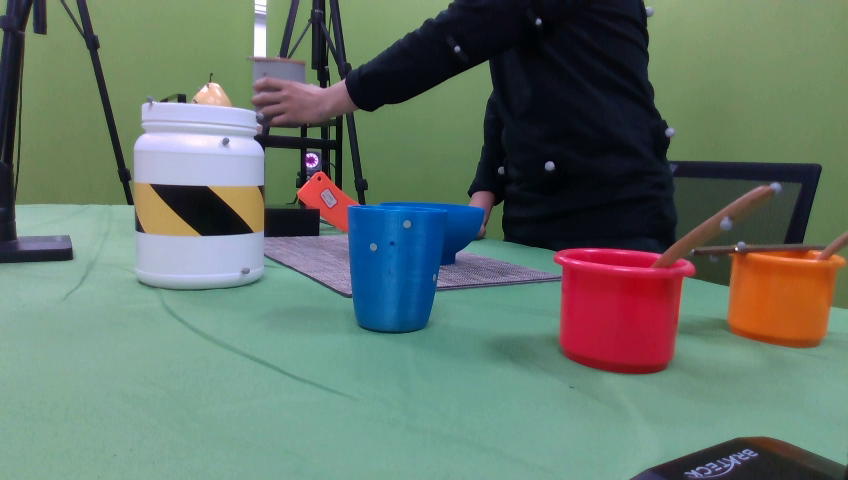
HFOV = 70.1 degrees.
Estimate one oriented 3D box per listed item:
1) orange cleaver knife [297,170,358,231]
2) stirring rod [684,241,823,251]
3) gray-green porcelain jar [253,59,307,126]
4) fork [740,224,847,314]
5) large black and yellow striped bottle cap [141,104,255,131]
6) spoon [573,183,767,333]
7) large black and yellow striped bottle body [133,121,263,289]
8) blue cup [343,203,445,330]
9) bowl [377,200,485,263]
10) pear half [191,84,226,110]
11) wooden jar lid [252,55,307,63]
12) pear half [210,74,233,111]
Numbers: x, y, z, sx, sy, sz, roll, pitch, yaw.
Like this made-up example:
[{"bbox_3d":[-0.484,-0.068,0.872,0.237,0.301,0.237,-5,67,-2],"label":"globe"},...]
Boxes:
[{"bbox_3d":[-0.149,-0.058,1.170,0.212,0.077,0.012,33,-15,-32],"label":"orange cleaver knife"},{"bbox_3d":[0.289,0.005,0.525,0.177,0.006,0.014,-1,6,-26],"label":"stirring rod"},{"bbox_3d":[-0.293,-0.298,1.233,0.106,0.126,0.106,2,12,0],"label":"gray-green porcelain jar"},{"bbox_3d":[0.323,0.013,0.485,0.028,0.018,0.207,9,-38,-5],"label":"fork"},{"bbox_3d":[-0.241,-0.131,0.650,0.115,0.019,0.115,3,8,0],"label":"large black and yellow striped bottle cap"},{"bbox_3d":[0.158,0.020,0.412,0.042,0.021,0.193,-2,-35,-21],"label":"spoon"},{"bbox_3d":[-0.243,-0.048,0.659,0.131,0.184,0.130,2,7,0],"label":"large black and yellow striped bottle body"},{"bbox_3d":[-0.028,0.021,0.510,0.093,0.100,0.092,3,5,0],"label":"blue cup"},{"bbox_3d":[0.008,-0.012,0.842,0.151,0.077,0.151,2,7,0],"label":"bowl"},{"bbox_3d":[-0.406,-0.248,1.128,0.070,0.088,0.031,6,7,1],"label":"pear half"},{"bbox_3d":[-0.291,-0.359,1.221,0.108,0.020,0.108,3,14,0],"label":"wooden jar lid"},{"bbox_3d":[-0.402,-0.262,1.162,0.076,0.109,0.056,7,8,2],"label":"pear half"}]
